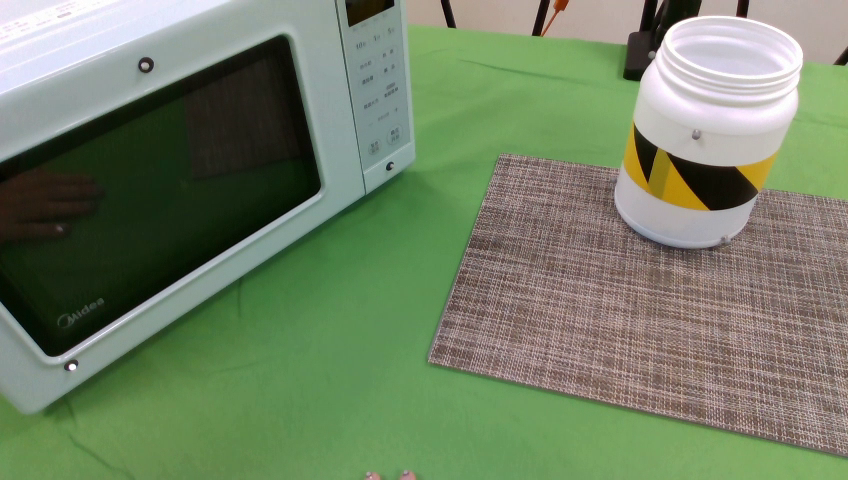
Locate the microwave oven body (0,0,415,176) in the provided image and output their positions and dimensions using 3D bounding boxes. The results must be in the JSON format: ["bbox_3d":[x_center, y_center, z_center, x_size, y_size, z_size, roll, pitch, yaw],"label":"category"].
[{"bbox_3d":[-0.276,-0.131,0.577,0.323,0.262,0.441,34,56,30],"label":"microwave oven body"}]

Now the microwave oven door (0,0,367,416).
[{"bbox_3d":[-0.201,-0.045,0.479,0.039,0.246,0.355,33,55,31],"label":"microwave oven door"}]

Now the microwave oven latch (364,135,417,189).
[{"bbox_3d":[-0.042,-0.088,0.657,0.079,0.030,0.030,-36,54,-27],"label":"microwave oven latch"}]

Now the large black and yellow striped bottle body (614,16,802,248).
[{"bbox_3d":[0.258,-0.097,0.564,0.131,0.186,0.129,-2,45,2],"label":"large black and yellow striped bottle body"}]
